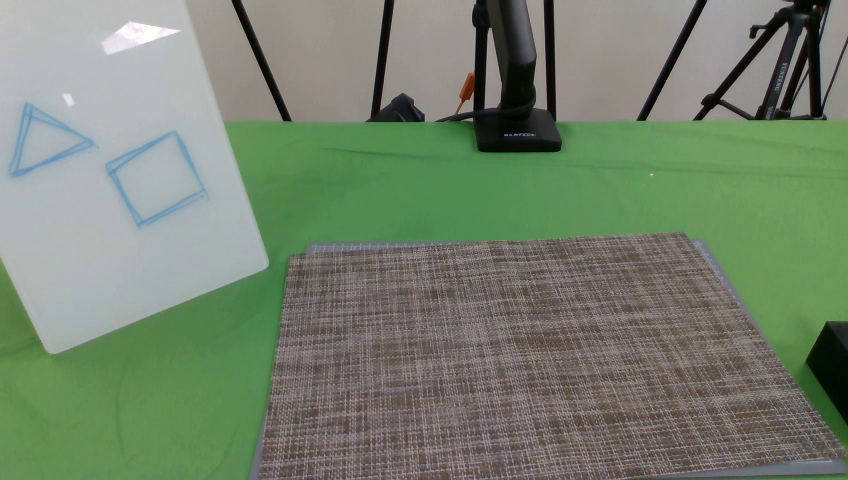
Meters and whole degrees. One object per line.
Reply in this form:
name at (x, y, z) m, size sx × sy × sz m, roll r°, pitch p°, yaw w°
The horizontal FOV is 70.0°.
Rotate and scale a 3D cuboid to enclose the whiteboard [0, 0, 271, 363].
whiteboard at (-0.317, -0.079, 0.596) m, size 0.217 × 0.307 × 0.142 m, roll -24°, pitch 23°, yaw -28°
